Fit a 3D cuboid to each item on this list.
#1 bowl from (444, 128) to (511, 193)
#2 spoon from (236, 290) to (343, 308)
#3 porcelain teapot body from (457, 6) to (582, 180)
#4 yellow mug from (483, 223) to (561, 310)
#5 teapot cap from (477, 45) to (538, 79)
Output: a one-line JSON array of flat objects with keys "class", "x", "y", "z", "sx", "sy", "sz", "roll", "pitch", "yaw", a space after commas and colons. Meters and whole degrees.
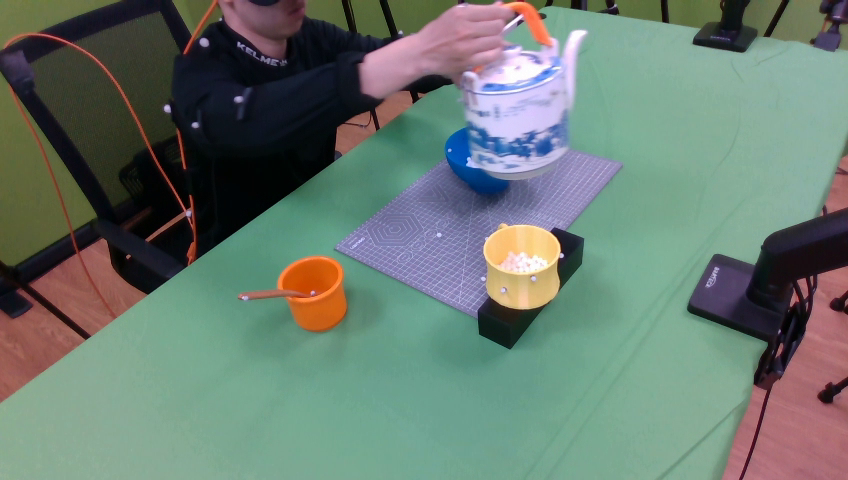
[{"class": "bowl", "x": 0.113, "y": -0.136, "z": 1.063, "sx": 0.151, "sy": 0.077, "sz": 0.150, "roll": -4, "pitch": 41, "yaw": 4}, {"class": "spoon", "x": -0.176, "y": 0.076, "z": 0.808, "sx": 0.041, "sy": 0.195, "sz": 0.021, "roll": 23, "pitch": 93, "yaw": 30}, {"class": "porcelain teapot body", "x": 0.143, "y": -0.221, "z": 0.853, "sx": 0.206, "sy": 0.226, "sz": 0.144, "roll": -28, "pitch": 36, "yaw": -21}, {"class": "yellow mug", "x": 0.125, "y": 0.025, "z": 0.811, "sx": 0.100, "sy": 0.064, "sz": 0.130, "roll": -16, "pitch": 39, "yaw": -10}, {"class": "teapot cap", "x": 0.112, "y": -0.240, "z": 0.822, "sx": 0.085, "sy": 0.044, "sz": 0.085, "roll": -7, "pitch": 32, "yaw": 5}]
